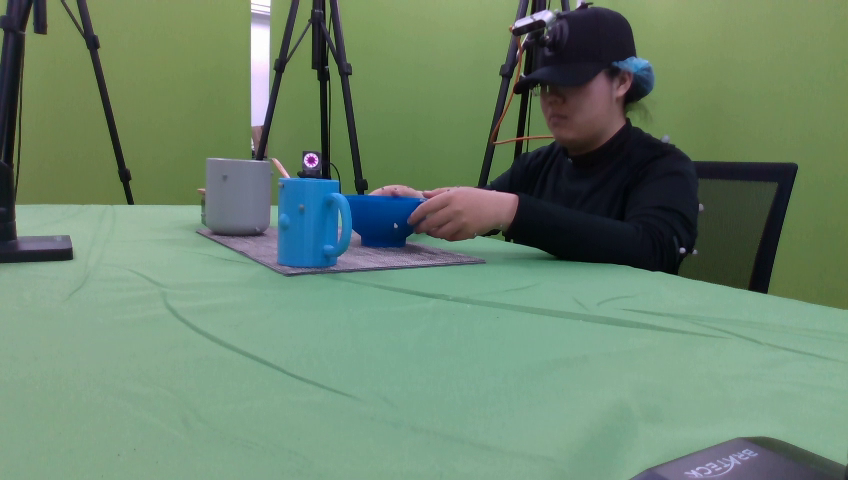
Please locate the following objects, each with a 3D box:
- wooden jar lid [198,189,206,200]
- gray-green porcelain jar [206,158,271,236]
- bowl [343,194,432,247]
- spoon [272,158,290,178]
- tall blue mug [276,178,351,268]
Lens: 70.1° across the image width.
[{"bbox_3d":[-0.382,-0.088,1.175,0.108,0.020,0.108,3,8,0],"label":"wooden jar lid"},{"bbox_3d":[-0.316,-0.074,1.031,0.106,0.126,0.106,3,7,0],"label":"gray-green porcelain jar"},{"bbox_3d":[-0.065,-0.031,0.985,0.151,0.077,0.151,3,7,0],"label":"bowl"},{"bbox_3d":[-0.268,-0.103,1.236,0.042,0.193,0.021,-10,-32,-39],"label":"spoon"},{"bbox_3d":[-0.133,-0.022,0.766,0.107,0.108,0.078,4,7,12],"label":"tall blue mug"}]
